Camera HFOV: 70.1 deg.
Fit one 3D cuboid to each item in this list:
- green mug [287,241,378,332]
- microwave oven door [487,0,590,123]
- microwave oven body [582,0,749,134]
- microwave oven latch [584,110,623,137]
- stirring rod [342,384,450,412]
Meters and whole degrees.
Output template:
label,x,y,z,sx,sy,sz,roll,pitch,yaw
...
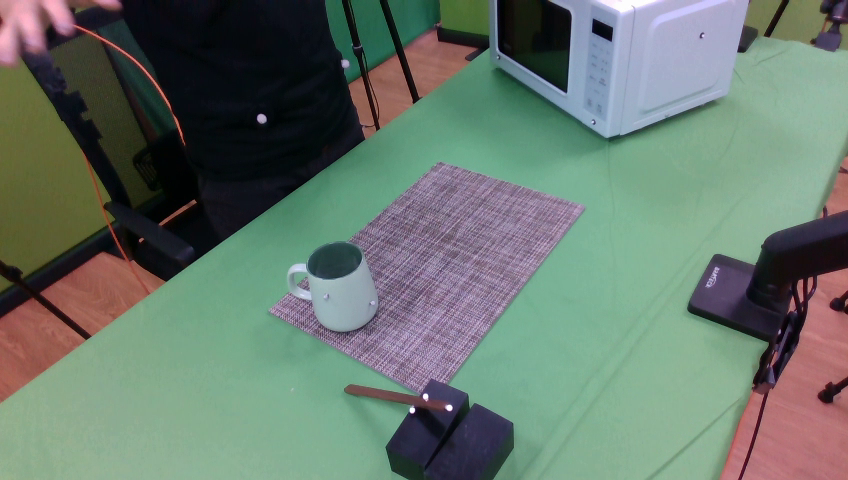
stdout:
label,x,y,z,sx,sy,sz,roll,pitch,yaw
green mug,-0.131,0.065,0.843,0.125,0.105,0.092,3,42,12
microwave oven door,0.232,-0.420,1.231,0.039,0.245,0.352,-22,43,-16
microwave oven body,0.382,-0.444,1.246,0.327,0.261,0.437,-22,42,-16
microwave oven latch,0.337,-0.222,1.142,0.030,0.029,0.078,-21,42,-14
stirring rod,-0.038,0.186,0.714,0.175,0.006,0.014,-3,22,43
